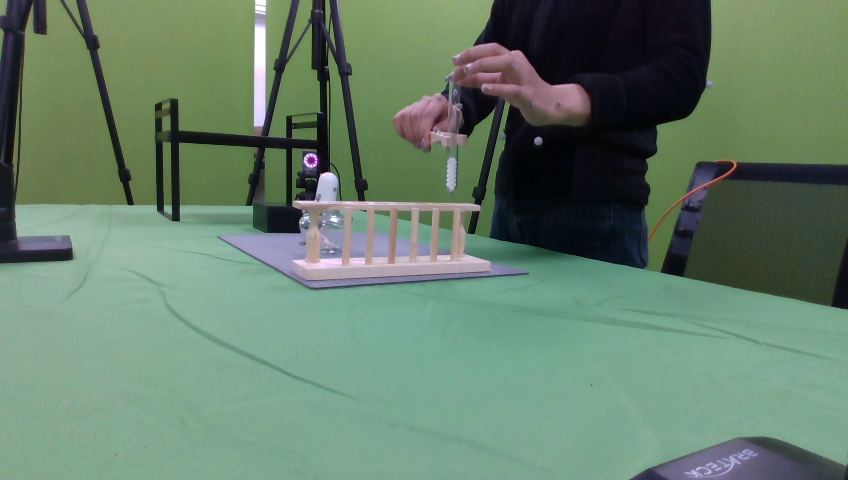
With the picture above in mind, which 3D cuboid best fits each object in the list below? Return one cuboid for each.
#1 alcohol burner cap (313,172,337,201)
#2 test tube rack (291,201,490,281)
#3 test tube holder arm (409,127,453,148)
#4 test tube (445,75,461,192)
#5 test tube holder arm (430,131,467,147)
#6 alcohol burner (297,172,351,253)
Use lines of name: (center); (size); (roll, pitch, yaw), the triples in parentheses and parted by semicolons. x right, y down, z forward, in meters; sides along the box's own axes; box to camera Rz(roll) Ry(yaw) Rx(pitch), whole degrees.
alcohol burner cap: (-0.144, -0.076, 0.888); (0.034, 0.048, 0.034); (8, 6, -1)
test tube rack: (-0.035, -0.002, 0.745); (0.243, 0.085, 0.066); (-1, 8, -28)
test tube holder arm: (0.007, -0.148, 0.858); (0.013, 0.015, 0.177); (-3, 15, -19)
test tube: (0.038, -0.138, 0.791); (0.017, 0.150, 0.017); (2, 12, 0)
test tube holder arm: (0.029, -0.137, 0.821); (0.010, 0.015, 0.087); (-8, 18, -32)
alcohol burner: (-0.146, -0.041, 0.894); (0.078, 0.119, 0.078); (5, 7, 0)
